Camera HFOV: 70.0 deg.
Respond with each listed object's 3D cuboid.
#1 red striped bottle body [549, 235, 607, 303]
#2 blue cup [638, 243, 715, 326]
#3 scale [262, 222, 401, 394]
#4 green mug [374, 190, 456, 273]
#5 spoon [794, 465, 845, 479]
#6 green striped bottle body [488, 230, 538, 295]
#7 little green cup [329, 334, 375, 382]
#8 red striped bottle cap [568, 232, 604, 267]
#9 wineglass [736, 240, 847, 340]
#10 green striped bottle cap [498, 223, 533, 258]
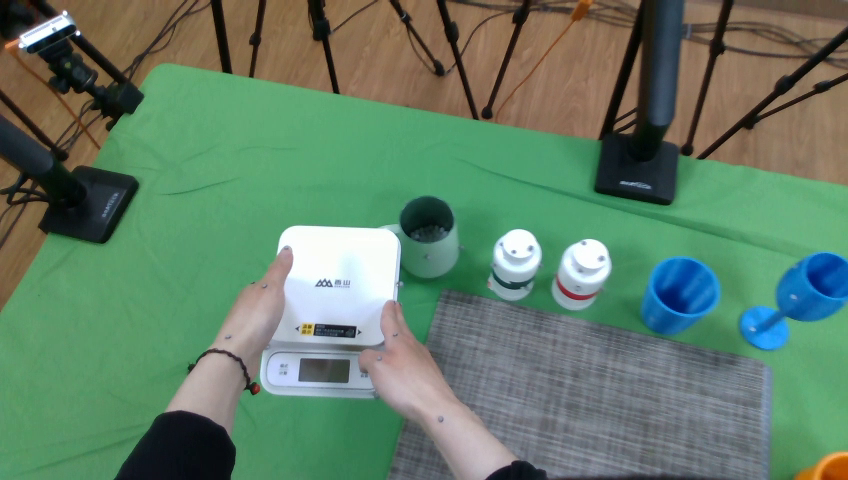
[{"bbox_3d":[0.210,0.036,0.825,0.063,0.120,0.062,-1,62,1],"label":"red striped bottle body"},{"bbox_3d":[0.330,0.070,0.814,0.092,0.101,0.092,-2,62,4],"label":"blue cup"},{"bbox_3d":[-0.106,0.075,0.706,0.148,0.032,0.199,2,68,5],"label":"scale"},{"bbox_3d":[-0.016,-0.008,0.866,0.125,0.106,0.091,-8,63,-1],"label":"green mug"},{"bbox_3d":[0.511,0.293,0.664,0.022,0.192,0.041,38,72,-27],"label":"spoon"},{"bbox_3d":[0.122,0.025,0.835,0.063,0.120,0.062,-1,62,2],"label":"green striped bottle body"},{"bbox_3d":[-0.095,0.161,0.817,0.061,0.039,0.061,0,63,1],"label":"little green cup"},{"bbox_3d":[0.209,0.012,0.779,0.044,0.018,0.044,-1,64,2],"label":"red striped bottle cap"},{"bbox_3d":[0.463,0.068,0.768,0.074,0.173,0.073,-1,62,3],"label":"wineglass"},{"bbox_3d":[0.119,0.000,0.789,0.044,0.020,0.044,-1,62,1],"label":"green striped bottle cap"}]
